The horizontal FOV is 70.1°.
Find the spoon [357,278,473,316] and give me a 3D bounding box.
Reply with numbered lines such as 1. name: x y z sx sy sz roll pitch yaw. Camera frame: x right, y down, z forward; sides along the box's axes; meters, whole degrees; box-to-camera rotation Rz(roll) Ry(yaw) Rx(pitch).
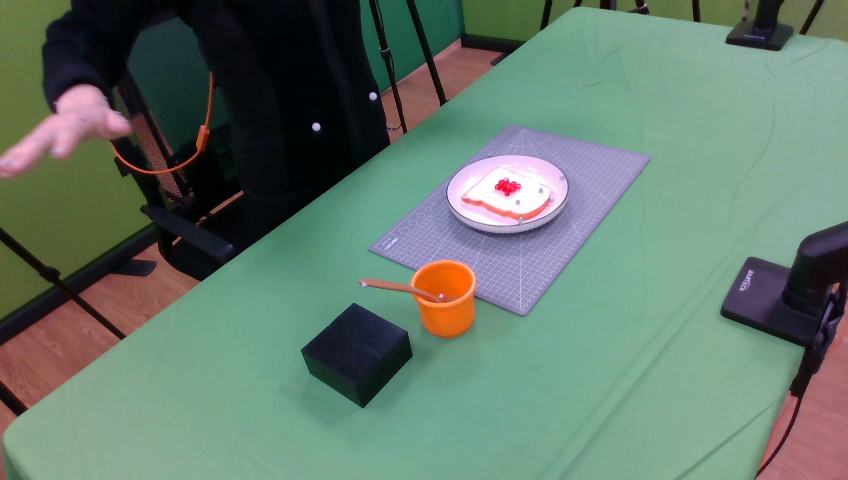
1. spoon: -0.008 0.072 0.804 0.021 0.195 0.041 -54 41 17

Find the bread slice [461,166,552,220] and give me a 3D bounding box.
1. bread slice: 0.149 -0.079 1.036 0.133 0.018 0.107 22 50 31

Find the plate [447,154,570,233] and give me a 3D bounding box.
1. plate: 0.143 -0.076 1.032 0.209 0.038 0.208 -5 40 5
